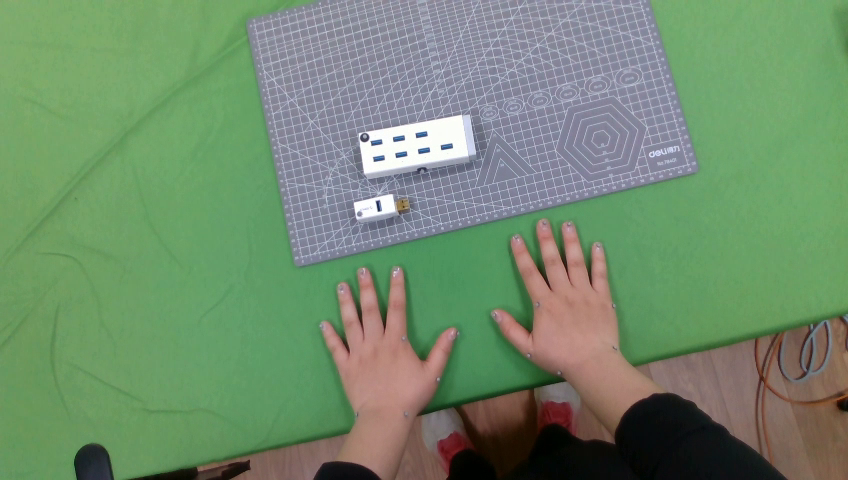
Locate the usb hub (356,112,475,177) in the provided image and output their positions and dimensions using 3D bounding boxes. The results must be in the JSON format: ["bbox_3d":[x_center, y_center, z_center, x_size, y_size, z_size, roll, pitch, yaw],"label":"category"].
[{"bbox_3d":[-0.009,-0.105,0.664,0.125,0.025,0.049,-9,82,4],"label":"usb hub"}]

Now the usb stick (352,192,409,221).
[{"bbox_3d":[-0.046,-0.037,0.659,0.059,0.027,0.021,-11,82,1],"label":"usb stick"}]
